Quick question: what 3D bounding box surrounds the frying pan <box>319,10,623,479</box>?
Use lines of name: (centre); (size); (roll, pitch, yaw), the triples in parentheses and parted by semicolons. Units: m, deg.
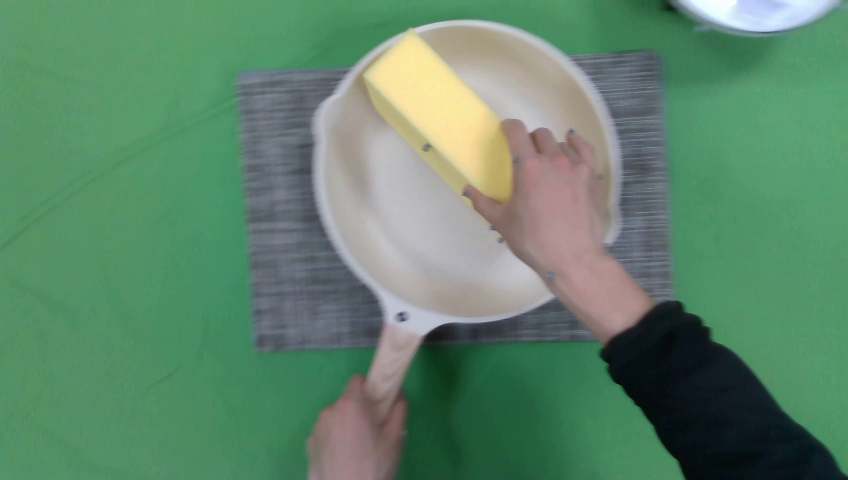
frying pan: (0.004, 0.021, 0.598); (0.306, 0.103, 0.487); (23, 84, 3)

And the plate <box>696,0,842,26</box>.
plate: (0.320, -0.301, 0.567); (0.208, 0.039, 0.207); (0, 91, 1)

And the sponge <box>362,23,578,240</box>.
sponge: (0.039, -0.094, 0.577); (0.206, 0.118, 0.061); (44, 87, 2)
